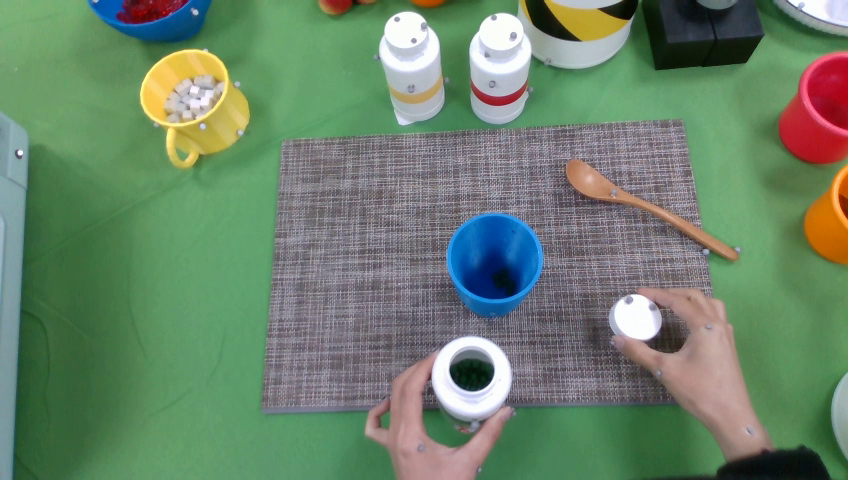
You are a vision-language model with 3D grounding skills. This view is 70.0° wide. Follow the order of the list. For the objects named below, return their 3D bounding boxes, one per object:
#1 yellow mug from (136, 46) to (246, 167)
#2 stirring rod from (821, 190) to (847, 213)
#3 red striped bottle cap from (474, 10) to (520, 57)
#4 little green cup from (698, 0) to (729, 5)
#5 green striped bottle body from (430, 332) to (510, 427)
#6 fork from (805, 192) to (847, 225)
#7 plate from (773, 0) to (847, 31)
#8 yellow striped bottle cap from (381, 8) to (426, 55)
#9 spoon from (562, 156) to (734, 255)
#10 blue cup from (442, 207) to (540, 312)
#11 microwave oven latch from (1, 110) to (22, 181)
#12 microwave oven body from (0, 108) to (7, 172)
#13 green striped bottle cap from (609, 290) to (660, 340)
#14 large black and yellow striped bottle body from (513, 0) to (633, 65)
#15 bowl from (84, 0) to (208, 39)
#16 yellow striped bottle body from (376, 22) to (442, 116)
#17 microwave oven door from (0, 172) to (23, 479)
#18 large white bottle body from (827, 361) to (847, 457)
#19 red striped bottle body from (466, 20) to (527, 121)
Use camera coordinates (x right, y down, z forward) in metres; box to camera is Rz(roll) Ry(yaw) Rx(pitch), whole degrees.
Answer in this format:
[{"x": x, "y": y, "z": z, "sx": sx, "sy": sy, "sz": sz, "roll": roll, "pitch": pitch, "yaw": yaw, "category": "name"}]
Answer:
[{"x": -0.265, "y": -0.144, "z": 0.683, "sx": 0.100, "sy": 0.064, "sz": 0.130, "roll": 7, "pitch": 72, "yaw": 6, "category": "yellow mug"}, {"x": 0.410, "y": -0.010, "z": 0.544, "sx": 0.014, "sy": 0.006, "sz": 0.175, "roll": -1, "pitch": 27, "yaw": 2, "category": "stirring rod"}, {"x": 0.071, "y": -0.202, "z": 0.591, "sx": 0.044, "sy": 0.018, "sz": 0.044, "roll": 0, "pitch": 69, "yaw": 1, "category": "red striped bottle cap"}, {"x": 0.314, "y": -0.284, "z": 0.645, "sx": 0.061, "sy": 0.039, "sz": 0.061, "roll": -1, "pitch": 69, "yaw": 3, "category": "little green cup"}, {"x": 0.037, "y": 0.116, "z": 0.501, "sx": 0.063, "sy": 0.120, "sz": 0.062, "roll": -1, "pitch": 66, "yaw": 3, "category": "green striped bottle body"}, {"x": 0.439, "y": -0.009, "z": 0.534, "sx": 0.028, "sy": 0.019, "sz": 0.205, "roll": -41, "pitch": 28, "yaw": -8, "category": "fork"}, {"x": 0.481, "y": -0.324, "z": 0.699, "sx": 0.209, "sy": 0.038, "sz": 0.207, "roll": -1, "pitch": 71, "yaw": 4, "category": "plate"}, {"x": -0.020, "y": -0.208, "z": 0.601, "sx": 0.044, "sy": 0.019, "sz": 0.044, "roll": -1, "pitch": 72, "yaw": 4, "category": "yellow striped bottle cap"}, {"x": 0.229, "y": -0.034, "z": 0.624, "sx": 0.193, "sy": 0.022, "sz": 0.041, "roll": 28, "pitch": 50, "yaw": 13, "category": "spoon"}, {"x": 0.061, "y": 0.028, "z": 0.574, "sx": 0.092, "sy": 0.101, "sz": 0.092, "roll": -1, "pitch": 70, "yaw": 3, "category": "blue cup"}, {"x": -0.474, "y": -0.104, "z": 0.682, "sx": 0.030, "sy": 0.030, "sz": 0.078, "roll": -9, "pitch": 71, "yaw": 1, "category": "microwave oven latch"}, {"x": -0.595, "y": 0.056, "z": 0.534, "sx": 0.326, "sy": 0.262, "sz": 0.438, "roll": -12, "pitch": 71, "yaw": 0, "category": "microwave oven body"}, {"x": 0.195, "y": 0.069, "z": 0.561, "sx": 0.044, "sy": 0.020, "sz": 0.044, "roll": -3, "pitch": 68, "yaw": 7, "category": "green striped bottle cap"}, {"x": 0.163, "y": -0.290, "z": 0.636, "sx": 0.131, "sy": 0.185, "sz": 0.130, "roll": -2, "pitch": 70, "yaw": 5, "category": "large black and yellow striped bottle body"}, {"x": -0.322, "y": -0.300, "z": 0.736, "sx": 0.151, "sy": 0.077, "sz": 0.150, "roll": -1, "pitch": 71, "yaw": 4, "category": "bowl"}, {"x": -0.015, "y": -0.190, "z": 0.650, "sx": 0.063, "sy": 0.121, "sz": 0.062, "roll": -2, "pitch": 71, "yaw": 6, "category": "yellow striped bottle body"}, {"x": -0.445, "y": 0.065, "z": 0.514, "sx": 0.039, "sy": 0.245, "sz": 0.353, "roll": -12, "pitch": 70, "yaw": 1, "category": "microwave oven door"}, {"x": 0.424, "y": 0.133, "z": 0.466, "sx": 0.130, "sy": 0.186, "sz": 0.129, "roll": -2, "pitch": 70, "yaw": 5, "category": "large white bottle body"}, {"x": 0.078, "y": -0.183, "z": 0.640, "sx": 0.063, "sy": 0.120, "sz": 0.062, "roll": -3, "pitch": 68, "yaw": 8, "category": "red striped bottle body"}]
